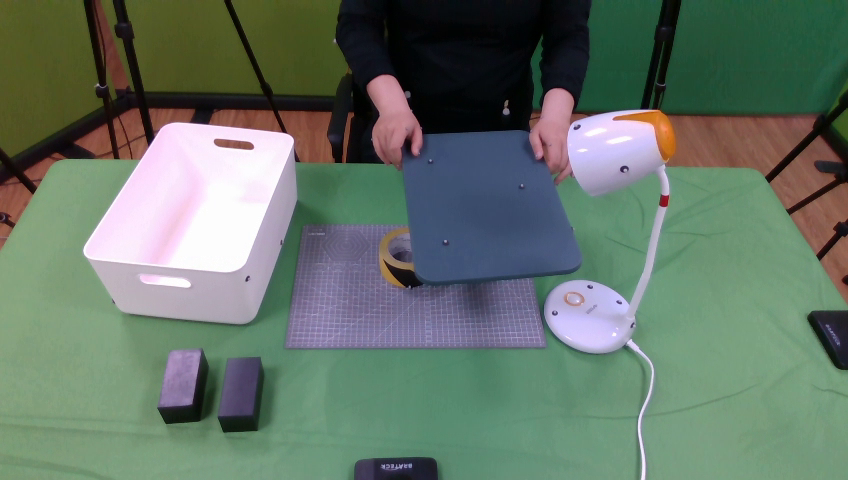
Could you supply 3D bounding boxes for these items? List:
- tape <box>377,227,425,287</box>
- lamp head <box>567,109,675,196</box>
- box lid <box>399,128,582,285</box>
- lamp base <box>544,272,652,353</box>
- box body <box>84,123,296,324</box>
[{"bbox_3d":[-0.031,0.032,1.141,0.117,0.053,0.116,2,46,-2],"label":"tape"},{"bbox_3d":[0.272,-0.123,0.818,0.122,0.113,0.112,-9,35,37],"label":"lamp head"},{"bbox_3d":[0.098,-0.071,1.031,0.263,0.015,0.369,-5,46,-4],"label":"box lid"},{"bbox_3d":[0.310,0.086,1.029,0.178,0.181,0.160,32,52,21],"label":"lamp base"},{"bbox_3d":[-0.393,-0.035,1.104,0.254,0.161,0.362,5,46,1],"label":"box body"}]
